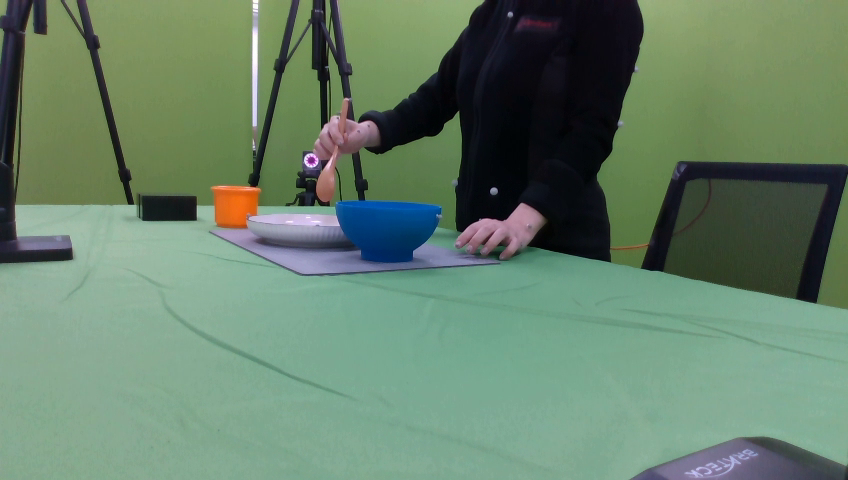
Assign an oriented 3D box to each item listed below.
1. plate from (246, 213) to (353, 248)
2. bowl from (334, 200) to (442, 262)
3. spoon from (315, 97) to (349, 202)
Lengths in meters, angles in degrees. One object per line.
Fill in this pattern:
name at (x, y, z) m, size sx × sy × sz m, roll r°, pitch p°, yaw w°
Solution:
plate at (-0.185, -0.017, 0.995) m, size 0.209 × 0.038 × 0.209 m, roll 3°, pitch 8°, yaw 0°
bowl at (-0.051, -0.013, 0.847) m, size 0.151 × 0.077 × 0.151 m, roll 3°, pitch 7°, yaw 0°
spoon at (-0.153, -0.157, 1.035) m, size 0.041 × 0.193 × 0.022 m, roll -3°, pitch -24°, yaw 36°
